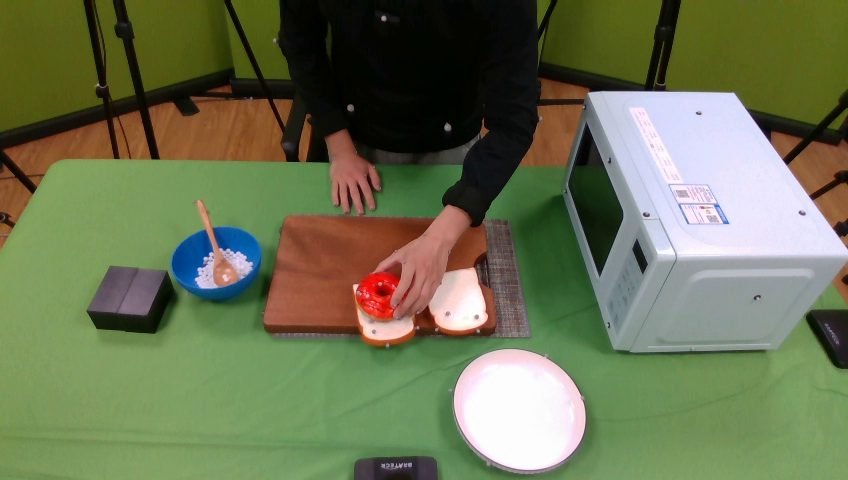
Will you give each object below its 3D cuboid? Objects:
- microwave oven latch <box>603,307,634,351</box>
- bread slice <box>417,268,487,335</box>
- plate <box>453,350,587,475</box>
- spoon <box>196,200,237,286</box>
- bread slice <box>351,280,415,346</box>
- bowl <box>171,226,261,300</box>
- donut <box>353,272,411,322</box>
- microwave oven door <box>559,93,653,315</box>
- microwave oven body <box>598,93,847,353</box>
[{"bbox_3d":[0.332,0.153,1.044,0.030,0.029,0.078,0,45,-3],"label":"microwave oven latch"},{"bbox_3d":[0.055,0.107,1.063,0.107,0.018,0.133,-9,48,-12],"label":"bread slice"},{"bbox_3d":[0.147,0.267,0.943,0.208,0.039,0.206,2,45,-2],"label":"plate"},{"bbox_3d":[-0.378,0.003,1.086,0.042,0.022,0.192,-15,67,-23],"label":"spoon"},{"bbox_3d":[-0.067,0.123,1.041,0.105,0.019,0.130,-7,46,-9],"label":"bread slice"},{"bbox_3d":[-0.363,0.054,1.081,0.151,0.077,0.150,2,45,-2],"label":"bowl"},{"bbox_3d":[-0.070,0.097,1.024,0.099,0.048,0.098,2,45,-2],"label":"donut"},{"bbox_3d":[0.327,-0.074,1.123,0.039,0.245,0.353,-1,46,-5],"label":"microwave oven door"},{"bbox_3d":[0.475,-0.041,1.109,0.326,0.261,0.438,-1,45,-4],"label":"microwave oven body"}]
